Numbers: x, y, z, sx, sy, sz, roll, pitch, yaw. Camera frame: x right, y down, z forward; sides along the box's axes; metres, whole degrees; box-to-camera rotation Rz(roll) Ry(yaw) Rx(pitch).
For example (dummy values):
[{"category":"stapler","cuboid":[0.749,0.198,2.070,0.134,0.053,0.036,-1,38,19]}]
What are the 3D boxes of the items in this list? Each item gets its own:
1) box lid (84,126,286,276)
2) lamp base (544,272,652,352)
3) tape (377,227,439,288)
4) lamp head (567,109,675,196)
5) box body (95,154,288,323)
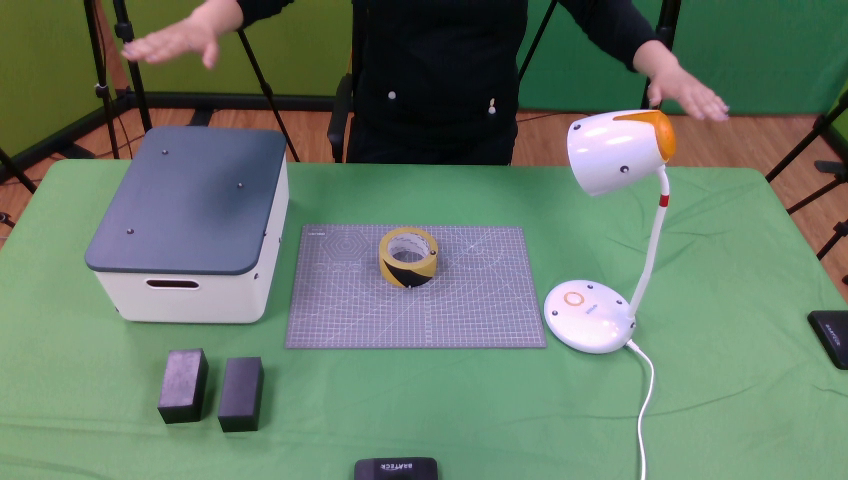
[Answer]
[{"category":"box lid","cuboid":[-0.393,-0.081,1.046,0.263,0.015,0.369,2,46,-3]},{"category":"lamp base","cuboid":[0.310,0.086,1.029,0.178,0.181,0.160,32,52,21]},{"category":"tape","cuboid":[-0.031,0.032,1.140,0.117,0.053,0.116,2,46,-2]},{"category":"lamp head","cuboid":[0.272,-0.123,0.818,0.122,0.113,0.112,-9,35,37]},{"category":"box body","cuboid":[-0.396,-0.031,1.100,0.254,0.161,0.361,1,46,-3]}]
